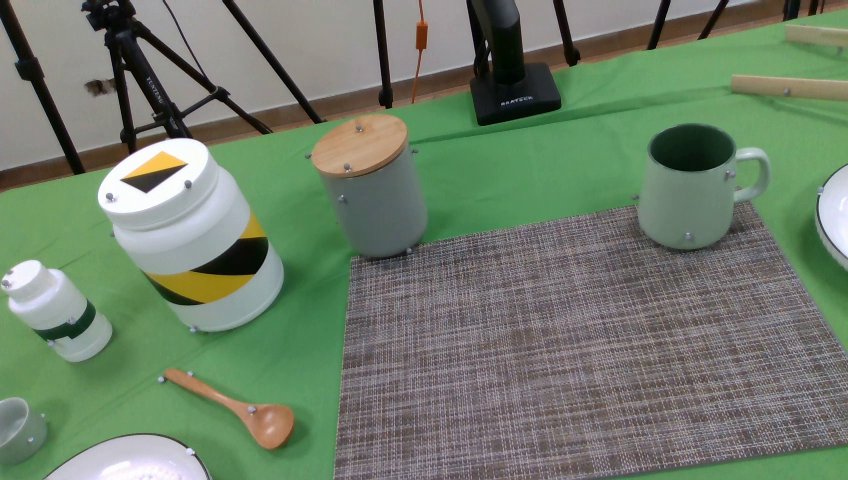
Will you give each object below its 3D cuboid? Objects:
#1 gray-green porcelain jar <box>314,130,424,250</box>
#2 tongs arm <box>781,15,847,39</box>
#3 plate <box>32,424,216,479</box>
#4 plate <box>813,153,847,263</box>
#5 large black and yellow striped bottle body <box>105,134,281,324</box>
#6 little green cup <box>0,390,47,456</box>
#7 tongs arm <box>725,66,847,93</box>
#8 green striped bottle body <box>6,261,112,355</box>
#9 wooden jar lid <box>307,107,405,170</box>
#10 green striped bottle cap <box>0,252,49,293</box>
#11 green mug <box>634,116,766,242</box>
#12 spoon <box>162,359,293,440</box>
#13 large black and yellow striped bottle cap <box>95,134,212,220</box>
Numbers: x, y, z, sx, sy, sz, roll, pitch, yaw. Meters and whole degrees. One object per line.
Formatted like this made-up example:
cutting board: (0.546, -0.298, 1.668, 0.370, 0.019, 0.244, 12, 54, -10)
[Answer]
gray-green porcelain jar: (-0.059, -0.060, 0.694, 0.106, 0.128, 0.105, -8, 41, 8)
tongs arm: (0.590, -0.221, 0.694, 0.051, 0.027, 0.380, -36, 39, -20)
plate: (-0.269, 0.259, 0.511, 0.209, 0.038, 0.207, -8, 45, 8)
plate: (0.478, -0.017, 0.562, 0.207, 0.039, 0.205, -8, 45, 9)
large black and yellow striped bottle body: (-0.249, -0.009, 0.661, 0.130, 0.186, 0.129, -8, 45, 9)
little green cup: (-0.425, 0.190, 0.622, 0.061, 0.039, 0.061, -8, 45, 8)
tongs arm: (0.534, -0.173, 0.665, 0.384, 0.028, 0.028, 17, 47, 40)
green striped bottle body: (-0.412, 0.071, 0.676, 0.063, 0.120, 0.062, -8, 45, 9)
wooden jar lid: (-0.072, -0.106, 0.653, 0.108, 0.021, 0.107, -11, 43, 11)
green striped bottle cap: (-0.423, 0.034, 0.640, 0.044, 0.020, 0.044, -7, 46, 7)
green mug: (0.278, -0.063, 0.612, 0.125, 0.106, 0.091, -10, 45, 6)
spoon: (-0.202, 0.151, 0.607, 0.192, 0.022, 0.041, 16, 71, 28)
large black and yellow striped bottle cap: (-0.268, -0.065, 0.602, 0.115, 0.019, 0.114, -8, 44, 8)
